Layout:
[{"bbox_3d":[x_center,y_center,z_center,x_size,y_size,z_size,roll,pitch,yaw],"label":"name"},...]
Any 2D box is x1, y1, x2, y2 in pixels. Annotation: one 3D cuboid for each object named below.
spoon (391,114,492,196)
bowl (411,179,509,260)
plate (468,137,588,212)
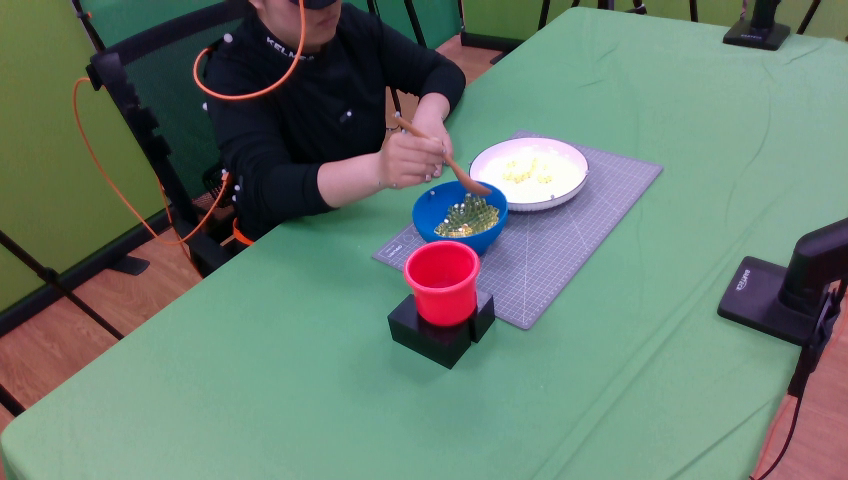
[{"bbox_3d":[0.027,-0.120,0.871,0.021,0.195,0.041,-55,24,-12],"label":"spoon"},{"bbox_3d":[0.060,-0.022,0.949,0.151,0.077,0.150,-5,40,5],"label":"bowl"},{"bbox_3d":[0.182,-0.112,1.064,0.207,0.039,0.206,-5,40,5],"label":"plate"}]
